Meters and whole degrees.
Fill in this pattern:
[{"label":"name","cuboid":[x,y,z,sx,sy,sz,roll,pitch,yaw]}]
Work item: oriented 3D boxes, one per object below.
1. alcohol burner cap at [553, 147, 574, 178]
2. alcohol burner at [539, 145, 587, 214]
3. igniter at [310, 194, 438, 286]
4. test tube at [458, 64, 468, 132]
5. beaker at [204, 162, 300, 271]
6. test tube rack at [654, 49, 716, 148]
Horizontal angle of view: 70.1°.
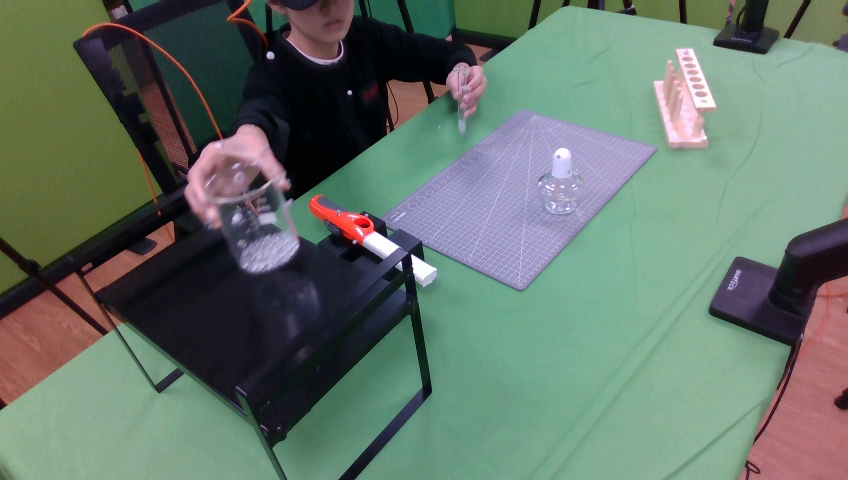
[{"label":"alcohol burner cap","cuboid":[0.224,-0.125,0.965,0.034,0.048,0.033,-5,44,6]},{"label":"alcohol burner","cuboid":[0.226,-0.102,0.986,0.078,0.119,0.077,-6,41,6]},{"label":"igniter","cuboid":[-0.087,-0.007,0.921,0.274,0.025,0.057,31,51,34]},{"label":"test tube","cuboid":[0.072,-0.253,1.097,0.017,0.151,0.017,-2,53,3]},{"label":"beaker","cuboid":[-0.177,-0.024,0.652,0.084,0.101,0.073,-17,37,-7]},{"label":"test tube rack","cuboid":[0.502,-0.281,1.176,0.066,0.085,0.241,2,41,11]}]
